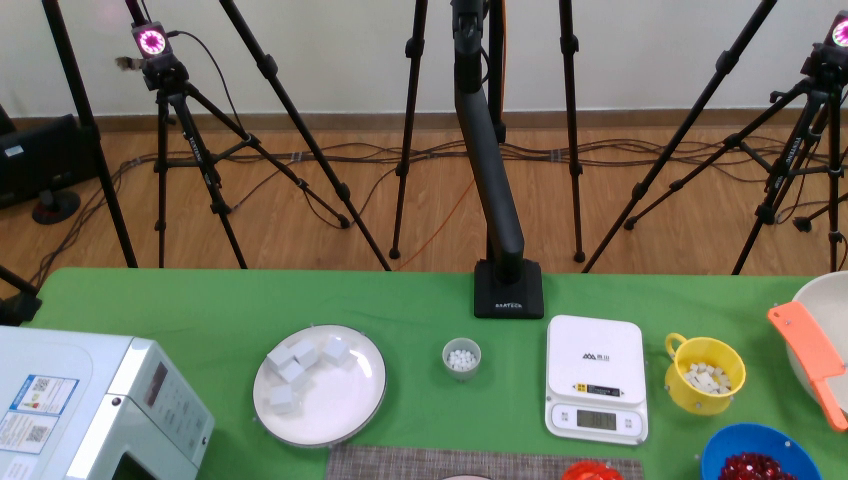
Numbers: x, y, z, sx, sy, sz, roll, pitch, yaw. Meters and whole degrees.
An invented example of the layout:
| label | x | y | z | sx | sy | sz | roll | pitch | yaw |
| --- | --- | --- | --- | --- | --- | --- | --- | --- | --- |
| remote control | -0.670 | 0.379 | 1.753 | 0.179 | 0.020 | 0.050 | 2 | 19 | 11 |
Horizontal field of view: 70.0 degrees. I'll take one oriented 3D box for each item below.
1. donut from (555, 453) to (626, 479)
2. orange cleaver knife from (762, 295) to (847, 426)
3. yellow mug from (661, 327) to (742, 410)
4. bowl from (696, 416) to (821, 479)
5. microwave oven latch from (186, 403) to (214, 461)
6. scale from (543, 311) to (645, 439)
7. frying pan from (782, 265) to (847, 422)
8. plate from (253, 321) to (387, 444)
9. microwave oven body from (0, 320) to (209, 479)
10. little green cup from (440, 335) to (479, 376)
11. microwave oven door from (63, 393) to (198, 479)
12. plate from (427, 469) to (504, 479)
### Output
| label | x | y | z | sx | sy | sz | roll | pitch | yaw |
| --- | --- | --- | --- | --- | --- | --- | --- | --- | --- |
| donut | 0.227 | 0.339 | 0.822 | 0.099 | 0.049 | 0.098 | -4 | 51 | 5 |
| orange cleaver knife | 0.567 | 0.167 | 0.880 | 0.077 | 0.012 | 0.209 | -4 | 50 | -5 |
| yellow mug | 0.411 | 0.187 | 0.925 | 0.100 | 0.064 | 0.129 | -25 | 52 | -15 |
| bowl | 0.432 | 0.321 | 0.806 | 0.151 | 0.077 | 0.150 | -2 | 51 | 3 |
| microwave oven latch | -0.336 | 0.282 | 0.894 | 0.030 | 0.030 | 0.078 | 5 | 52 | 8 |
| scale | 0.263 | 0.204 | 0.944 | 0.148 | 0.032 | 0.199 | 4 | 51 | 8 |
| frying pan | 0.727 | 0.232 | 0.841 | 0.307 | 0.104 | 0.482 | -20 | 44 | -11 |
| plate | -0.161 | 0.224 | 0.954 | 0.207 | 0.039 | 0.205 | -2 | 50 | 2 |
| microwave oven body | -0.510 | 0.348 | 0.725 | 0.326 | 0.262 | 0.437 | 4 | 51 | 6 |
| little green cup | 0.057 | 0.187 | 0.969 | 0.061 | 0.039 | 0.061 | -2 | 50 | 3 |
| microwave oven door | -0.370 | 0.384 | 0.678 | 0.039 | 0.246 | 0.352 | 3 | 51 | 7 |
| plate | 0.055 | 0.405 | 0.783 | 0.209 | 0.038 | 0.207 | -2 | 50 | 2 |
